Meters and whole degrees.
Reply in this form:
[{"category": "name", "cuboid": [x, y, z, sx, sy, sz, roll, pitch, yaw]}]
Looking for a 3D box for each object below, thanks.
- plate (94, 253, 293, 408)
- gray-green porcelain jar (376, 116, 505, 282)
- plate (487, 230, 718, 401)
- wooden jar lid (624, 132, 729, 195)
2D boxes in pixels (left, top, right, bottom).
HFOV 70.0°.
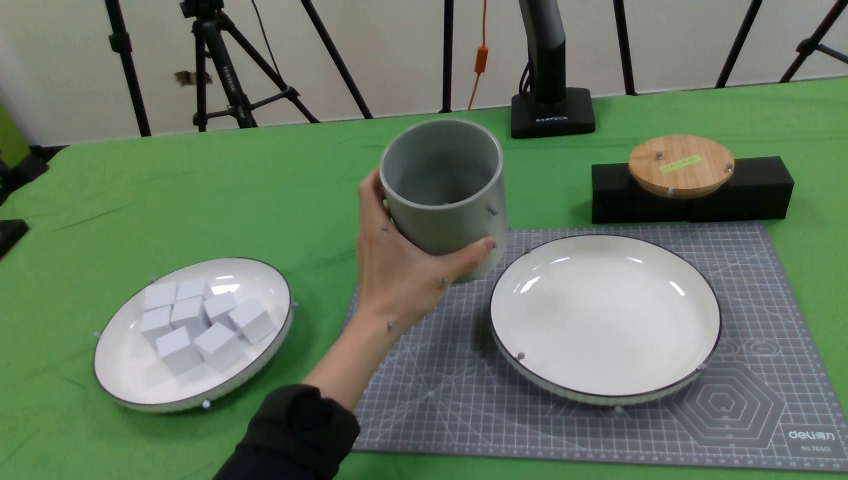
[{"category": "plate", "cuboid": [-0.239, 0.095, 0.649, 0.207, 0.039, 0.205, -7, 40, 6]}, {"category": "gray-green porcelain jar", "cuboid": [0.020, -0.030, 0.550, 0.106, 0.128, 0.105, -5, 53, 7]}, {"category": "plate", "cuboid": [0.165, 0.068, 0.577, 0.209, 0.038, 0.207, -7, 39, 6]}, {"category": "wooden jar lid", "cuboid": [0.279, -0.085, 0.673, 0.108, 0.021, 0.107, -6, 41, 6]}]
